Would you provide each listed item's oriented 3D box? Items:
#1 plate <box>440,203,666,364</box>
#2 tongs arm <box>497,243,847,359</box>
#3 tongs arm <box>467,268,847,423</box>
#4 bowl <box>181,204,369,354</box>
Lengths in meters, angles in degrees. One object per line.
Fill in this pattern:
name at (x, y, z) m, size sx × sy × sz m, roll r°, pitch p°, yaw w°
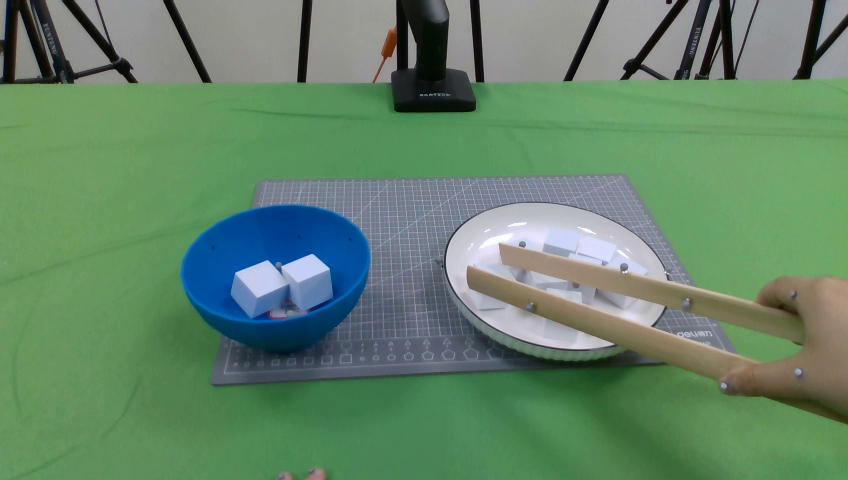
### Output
plate at (0.118, 0.040, 0.571) m, size 0.208 × 0.039 × 0.205 m, roll 2°, pitch 39°, yaw -1°
tongs arm at (0.208, 0.060, 0.429) m, size 0.382 × 0.027 × 0.050 m, roll 13°, pitch 36°, yaw 35°
tongs arm at (0.188, 0.074, 0.410) m, size 0.384 × 0.028 × 0.028 m, roll 15°, pitch 33°, yaw 36°
bowl at (-0.121, 0.043, 0.519) m, size 0.151 × 0.077 × 0.150 m, roll 2°, pitch 39°, yaw -1°
